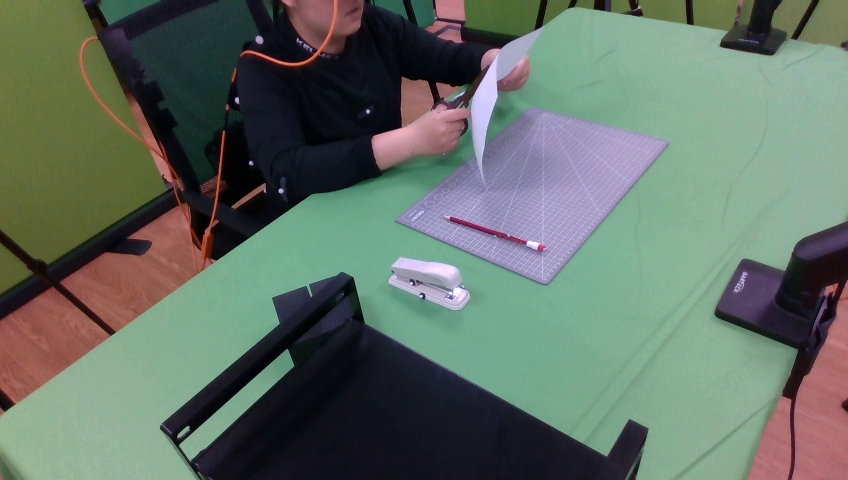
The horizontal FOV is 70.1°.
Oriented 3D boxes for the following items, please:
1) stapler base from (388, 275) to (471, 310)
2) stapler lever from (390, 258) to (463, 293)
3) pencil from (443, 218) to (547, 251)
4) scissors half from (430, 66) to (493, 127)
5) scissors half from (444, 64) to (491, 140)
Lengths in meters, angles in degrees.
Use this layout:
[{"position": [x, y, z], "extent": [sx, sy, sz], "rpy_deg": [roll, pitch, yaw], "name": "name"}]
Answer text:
[{"position": [0.007, 0.066, 0.897], "extent": [0.129, 0.024, 0.041], "rpy_deg": [17, 43, 29], "name": "stapler base"}, {"position": [0.003, 0.046, 0.881], "extent": [0.117, 0.040, 0.027], "rpy_deg": [17, 44, 29], "name": "stapler lever"}, {"position": [0.110, -0.012, 0.980], "extent": [0.192, 0.012, 0.012], "rpy_deg": [18, 46, 30], "name": "pencil"}, {"position": [0.067, -0.261, 1.096], "extent": [0.174, 0.040, 0.013], "rpy_deg": [-32, 7, 44], "name": "scissors half"}, {"position": [0.082, -0.246, 1.096], "extent": [0.040, 0.175, 0.013], "rpy_deg": [34, 44, 6], "name": "scissors half"}]
